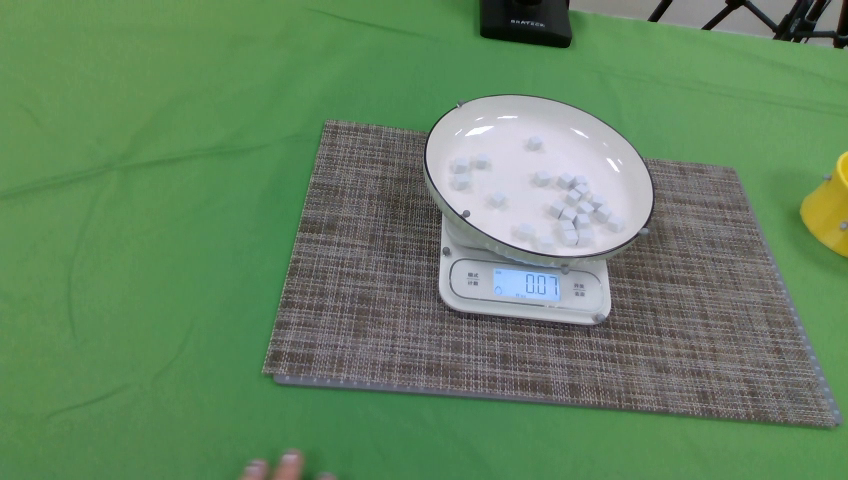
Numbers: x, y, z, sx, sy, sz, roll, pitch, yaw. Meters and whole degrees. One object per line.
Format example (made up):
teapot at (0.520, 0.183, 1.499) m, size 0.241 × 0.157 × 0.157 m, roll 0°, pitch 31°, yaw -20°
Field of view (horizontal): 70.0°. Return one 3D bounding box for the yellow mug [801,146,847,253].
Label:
yellow mug at (0.448, -0.029, 0.601) m, size 0.100 × 0.064 × 0.129 m, roll 5°, pitch 51°, yaw -5°

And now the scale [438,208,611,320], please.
scale at (0.091, -0.022, 0.558) m, size 0.149 × 0.032 × 0.199 m, roll 7°, pitch 51°, yaw -3°

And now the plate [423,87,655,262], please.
plate at (0.100, -0.060, 0.548) m, size 0.209 × 0.038 × 0.207 m, roll 5°, pitch 51°, yaw -5°
